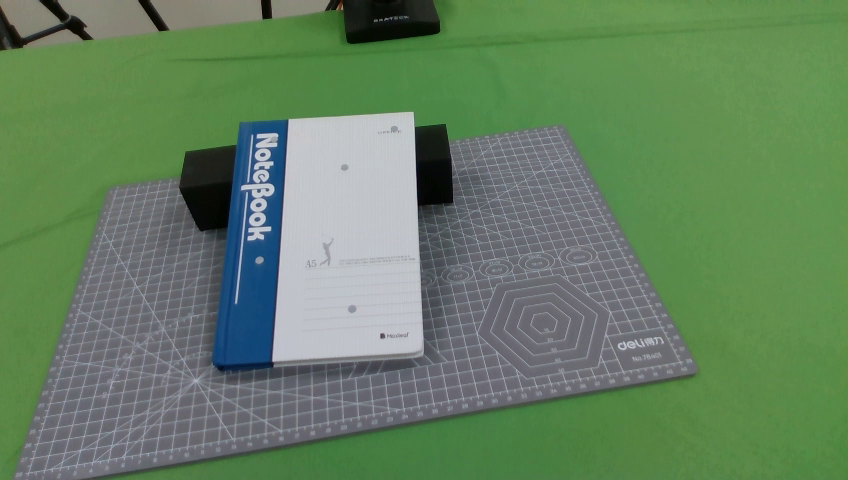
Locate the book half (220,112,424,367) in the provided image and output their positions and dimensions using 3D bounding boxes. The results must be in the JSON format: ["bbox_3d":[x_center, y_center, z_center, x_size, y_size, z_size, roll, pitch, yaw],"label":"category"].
[{"bbox_3d":[-0.076,-0.009,0.464,0.143,0.007,0.208,-4,63,1],"label":"book half"}]
